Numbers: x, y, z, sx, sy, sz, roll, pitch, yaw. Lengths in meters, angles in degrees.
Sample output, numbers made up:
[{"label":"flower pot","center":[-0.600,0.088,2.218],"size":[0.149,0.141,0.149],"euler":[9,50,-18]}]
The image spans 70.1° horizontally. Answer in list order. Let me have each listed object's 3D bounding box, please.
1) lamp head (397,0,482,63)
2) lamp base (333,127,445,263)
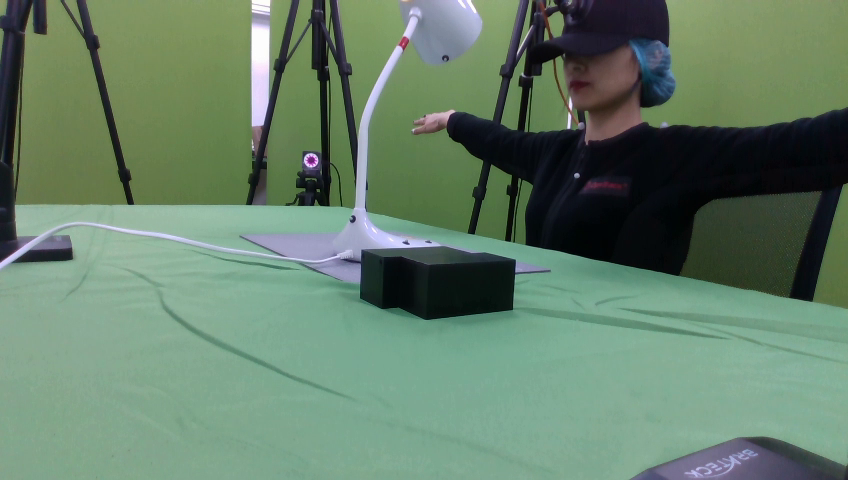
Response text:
[{"label":"lamp head","center":[0.011,-0.341,0.899],"size":[0.112,0.112,0.123],"euler":[7,-21,37]},{"label":"lamp base","center":[-0.054,-0.064,0.842],"size":[0.160,0.180,0.180],"euler":[6,11,29]}]
